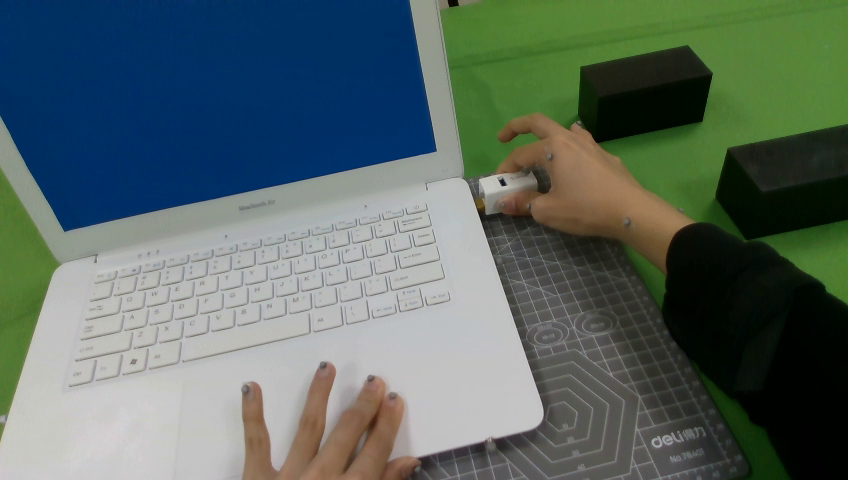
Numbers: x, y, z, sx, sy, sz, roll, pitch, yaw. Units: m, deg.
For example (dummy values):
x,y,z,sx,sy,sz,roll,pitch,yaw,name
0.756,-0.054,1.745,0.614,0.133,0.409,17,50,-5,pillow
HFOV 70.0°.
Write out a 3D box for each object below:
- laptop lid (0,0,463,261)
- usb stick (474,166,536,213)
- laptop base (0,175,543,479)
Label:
x,y,z,sx,sy,sz,roll,pitch,yaw,name
-0.157,-0.113,0.457,0.357,0.244,0.013,-14,32,-1,laptop lid
0.061,-0.039,0.493,0.059,0.027,0.021,-16,46,-3,usb stick
-0.116,0.069,0.440,0.354,0.023,0.233,-12,50,-2,laptop base
